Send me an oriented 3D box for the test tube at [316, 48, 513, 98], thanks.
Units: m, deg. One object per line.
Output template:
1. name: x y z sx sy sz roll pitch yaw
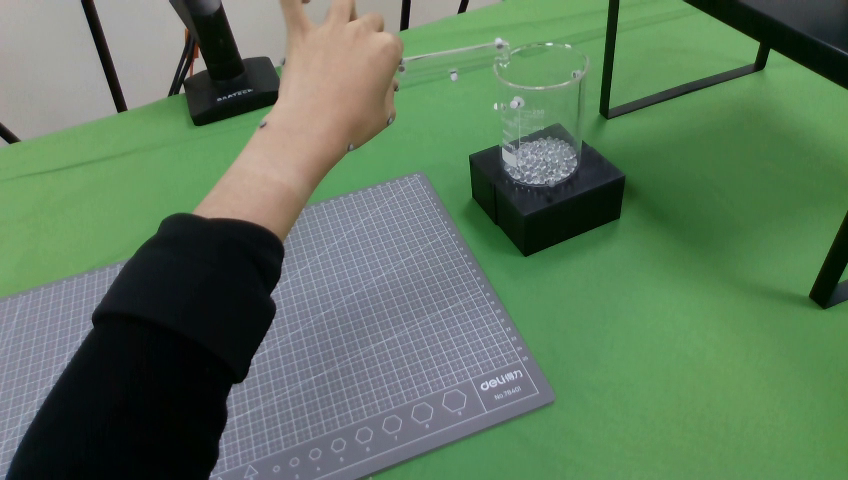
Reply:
1. test tube: -0.007 -0.127 0.460 0.150 0.017 0.017 -9 43 0

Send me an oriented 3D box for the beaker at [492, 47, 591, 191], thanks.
1. beaker: 0.095 -0.099 0.508 0.083 0.101 0.074 29 55 35
